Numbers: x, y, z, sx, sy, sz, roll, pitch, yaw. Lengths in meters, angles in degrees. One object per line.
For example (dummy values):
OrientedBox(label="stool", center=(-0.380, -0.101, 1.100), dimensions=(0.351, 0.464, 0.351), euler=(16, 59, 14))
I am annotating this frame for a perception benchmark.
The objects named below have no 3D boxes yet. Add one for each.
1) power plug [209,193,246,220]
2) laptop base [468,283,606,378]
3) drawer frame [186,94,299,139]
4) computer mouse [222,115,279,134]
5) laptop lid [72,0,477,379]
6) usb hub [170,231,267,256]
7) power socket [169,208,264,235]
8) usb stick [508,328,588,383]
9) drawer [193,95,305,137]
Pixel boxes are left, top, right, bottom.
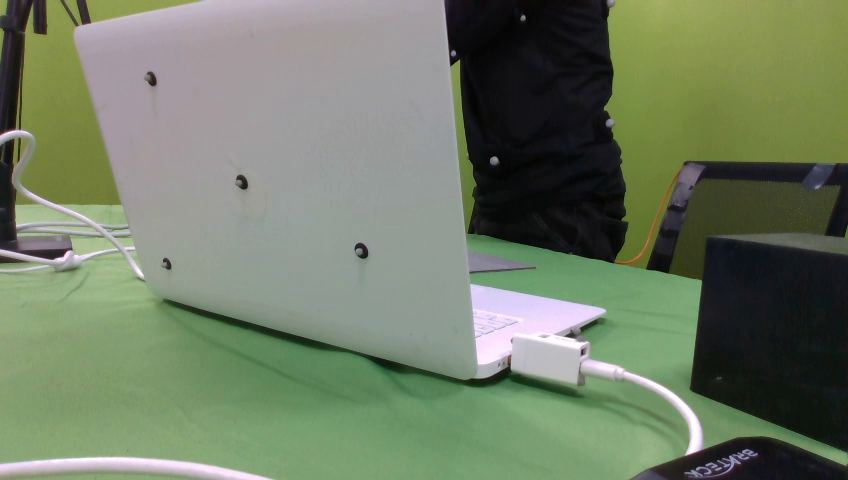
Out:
OrientedBox(label="power plug", center=(-0.388, -0.067, 1.205), dimensions=(0.072, 0.052, 0.035), euler=(4, 8, 27))
OrientedBox(label="laptop base", center=(-0.042, 0.057, 0.553), dimensions=(0.352, 0.023, 0.237), euler=(8, 6, 35))
OrientedBox(label="drawer frame", center=(-0.415, -0.277, 1.375), dimensions=(0.203, 0.082, 0.212), euler=(-3, 8, -32))
OrientedBox(label="computer mouse", center=(-0.379, -0.253, 1.321), dimensions=(0.118, 0.041, 0.062), euler=(-8, 16, -32))
OrientedBox(label="laptop lid", center=(-0.125, -0.042, 0.417), dimensions=(0.355, 0.241, 0.013), euler=(9, 25, 34))
OrientedBox(label="usb hub", center=(-0.290, 0.005, 0.862), dimensions=(0.049, 0.025, 0.126), euler=(10, 11, 42))
OrientedBox(label="power socket", center=(-0.381, -0.038, 1.128), dimensions=(0.072, 0.032, 0.227), euler=(4, 8, 16))
OrientedBox(label="usb stick", center=(0.072, 0.071, 0.383), dimensions=(0.059, 0.027, 0.021), euler=(2, 2, 34))
OrientedBox(label="drawer", center=(-0.392, -0.270, 1.345), dimensions=(0.195, 0.073, 0.210), euler=(-3, 8, -32))
